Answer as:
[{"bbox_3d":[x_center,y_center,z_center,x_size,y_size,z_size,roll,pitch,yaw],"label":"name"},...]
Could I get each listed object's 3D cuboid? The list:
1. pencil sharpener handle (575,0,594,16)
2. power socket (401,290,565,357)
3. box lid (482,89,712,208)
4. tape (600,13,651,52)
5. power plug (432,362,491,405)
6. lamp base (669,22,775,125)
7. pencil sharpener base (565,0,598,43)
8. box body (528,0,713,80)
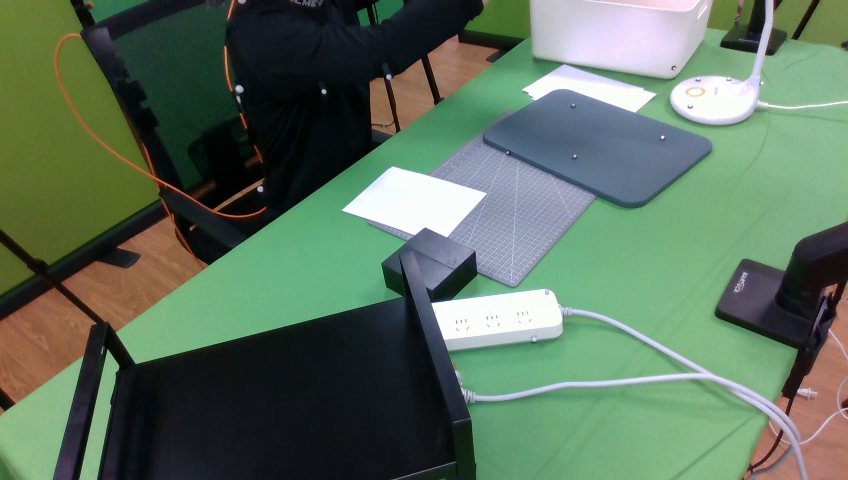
[{"bbox_3d":[0.401,-0.594,1.512,0.036,0.067,0.030,35,48,0],"label":"pencil sharpener handle"},{"bbox_3d":[0.080,0.113,0.822,0.227,0.033,0.072,-7,41,0],"label":"power socket"},{"bbox_3d":[0.320,-0.190,1.156,0.264,0.015,0.368,-33,47,-28],"label":"box lid"},{"bbox_3d":[0.484,-0.498,1.451,0.117,0.053,0.116,-4,41,4],"label":"tape"},{"bbox_3d":[0.045,0.182,0.758,0.073,0.035,0.052,22,43,-18],"label":"power plug"},{"bbox_3d":[0.577,-0.332,1.148,0.179,0.181,0.160,7,47,12],"label":"lamp base"},{"bbox_3d":[0.388,-0.550,1.484,0.061,0.107,0.077,13,44,23],"label":"pencil sharpener base"},{"bbox_3d":[0.451,-0.513,1.398,0.361,0.161,0.254,19,47,28],"label":"box body"}]
